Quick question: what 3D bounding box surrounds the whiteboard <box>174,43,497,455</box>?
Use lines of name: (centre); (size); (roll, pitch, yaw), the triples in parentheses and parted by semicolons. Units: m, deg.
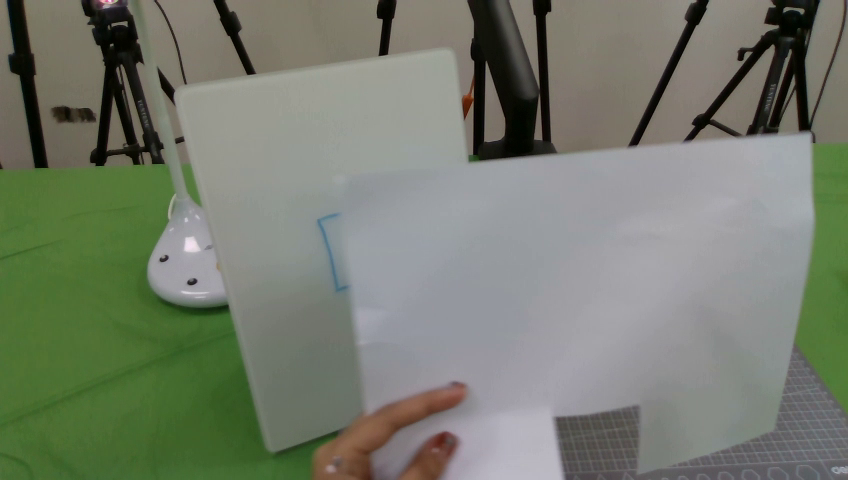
whiteboard: (-0.075, -0.004, 0.558); (0.218, 0.307, 0.142); (-15, 18, -17)

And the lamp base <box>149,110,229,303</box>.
lamp base: (-0.252, -0.047, 0.681); (0.177, 0.182, 0.160); (23, 42, 34)

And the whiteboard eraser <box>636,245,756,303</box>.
whiteboard eraser: (0.297, 0.039, 0.664); (0.113, 0.042, 0.055); (-7, 37, -9)

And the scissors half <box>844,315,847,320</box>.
scissors half: (0.260, 0.095, 0.264); (0.174, 0.013, 0.040); (46, 30, 19)
